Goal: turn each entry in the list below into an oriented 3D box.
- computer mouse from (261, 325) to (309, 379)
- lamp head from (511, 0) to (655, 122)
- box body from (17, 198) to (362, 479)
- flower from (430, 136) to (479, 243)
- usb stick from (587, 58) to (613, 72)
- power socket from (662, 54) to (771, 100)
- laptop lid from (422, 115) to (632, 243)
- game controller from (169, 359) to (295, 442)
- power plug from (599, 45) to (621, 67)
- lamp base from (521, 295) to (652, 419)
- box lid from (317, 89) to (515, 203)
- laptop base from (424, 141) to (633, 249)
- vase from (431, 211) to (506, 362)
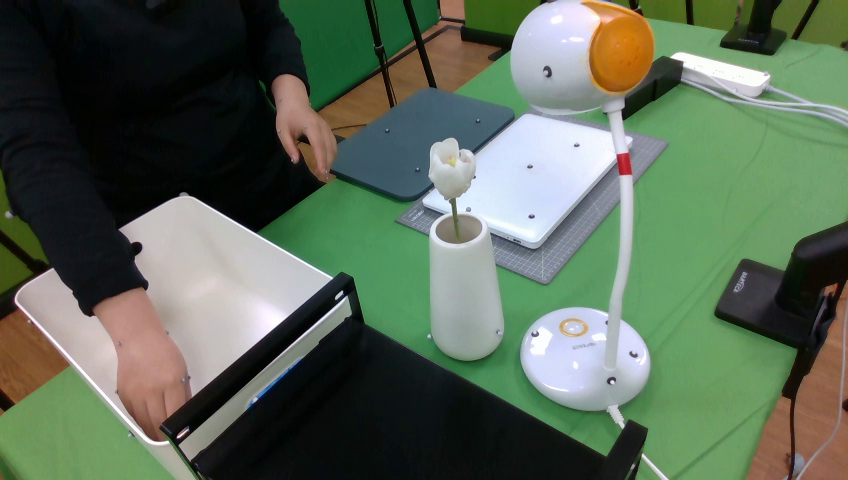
[{"bbox_3d":[-0.157,0.156,0.794,0.116,0.041,0.063,28,50,25],"label":"computer mouse"},{"bbox_3d":[0.155,-0.168,0.563,0.113,0.113,0.122,-18,23,-12],"label":"lamp head"},{"bbox_3d":[-0.285,0.123,0.766,0.361,0.161,0.255,25,49,33],"label":"box body"},{"bbox_3d":[0.041,0.011,0.691,0.044,0.363,0.038,16,63,14],"label":"flower"},{"bbox_3d":[0.401,-0.399,1.380,0.059,0.027,0.021,1,48,20],"label":"usb stick"},{"bbox_3d":[0.615,-0.348,1.284,0.072,0.033,0.225,-36,48,-29],"label":"power socket"},{"bbox_3d":[0.190,-0.126,1.081,0.239,0.013,0.358,23,48,34],"label":"laptop lid"},{"bbox_3d":[-0.228,0.205,0.740,0.096,0.052,0.156,29,51,32],"label":"game controller"},{"bbox_3d":[0.437,-0.422,1.412,0.053,0.035,0.072,-19,75,-47],"label":"power plug"},{"bbox_3d":[0.201,0.095,0.710,0.161,0.181,0.177,-16,43,-10],"label":"lamp base"},{"bbox_3d":[-0.009,-0.207,1.236,0.261,0.015,0.372,23,49,32],"label":"box lid"},{"bbox_3d":[0.193,-0.117,1.087,0.233,0.023,0.355,21,48,34],"label":"laptop base"},{"bbox_3d":[0.054,0.062,0.757,0.098,0.201,0.097,-3,40,3],"label":"vase"}]
